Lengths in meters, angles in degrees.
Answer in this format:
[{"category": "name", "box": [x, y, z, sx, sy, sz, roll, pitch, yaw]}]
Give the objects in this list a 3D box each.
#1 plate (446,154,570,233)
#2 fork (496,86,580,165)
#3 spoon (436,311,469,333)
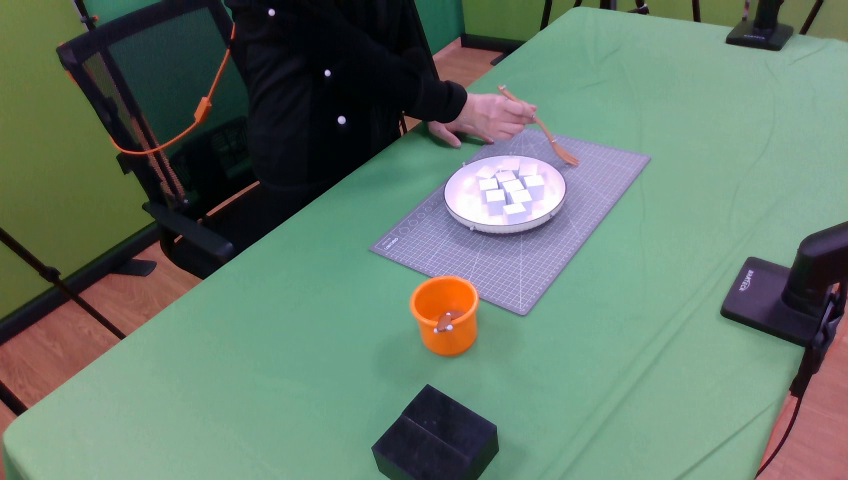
[{"category": "plate", "box": [0.142, -0.076, 1.033, 0.207, 0.039, 0.206, -5, 40, 5]}, {"category": "fork", "box": [0.207, -0.205, 1.087, 0.018, 0.208, 0.028, -34, 20, 42]}, {"category": "spoon", "box": [0.030, 0.102, 0.761, 0.041, 0.194, 0.021, 2, 85, 8]}]
